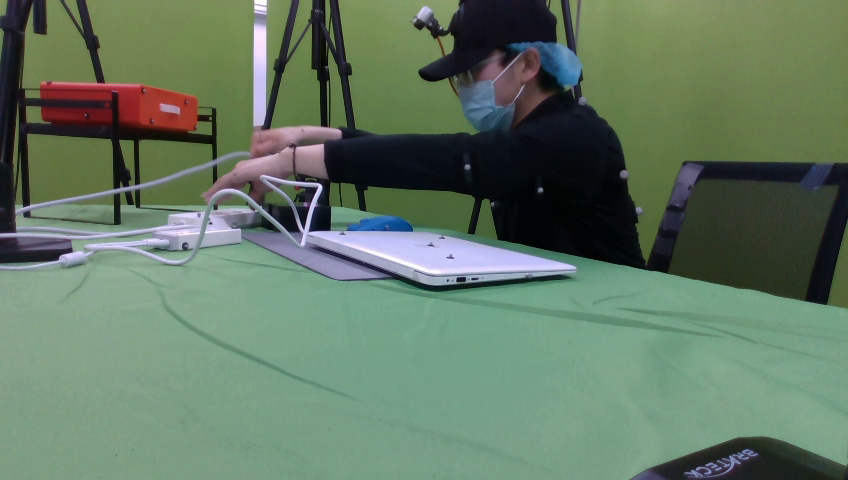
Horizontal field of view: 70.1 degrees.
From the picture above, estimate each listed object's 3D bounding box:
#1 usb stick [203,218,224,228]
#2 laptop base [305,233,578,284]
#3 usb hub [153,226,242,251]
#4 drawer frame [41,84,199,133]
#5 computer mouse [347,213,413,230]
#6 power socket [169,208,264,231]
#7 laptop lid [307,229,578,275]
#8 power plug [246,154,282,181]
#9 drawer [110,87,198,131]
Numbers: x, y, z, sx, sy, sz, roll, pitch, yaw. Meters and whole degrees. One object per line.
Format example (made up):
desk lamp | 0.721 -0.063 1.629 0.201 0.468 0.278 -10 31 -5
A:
usb stick | -0.346 -0.019 1.008 0.027 0.021 0.059 43 -8 2
laptop base | 0.007 0.022 0.850 0.237 0.023 0.352 1 7 -34
usb hub | -0.337 -0.003 0.907 0.049 0.025 0.125 6 9 28
drawer frame | -0.604 -0.264 1.225 0.213 0.082 0.202 3 8 8
computer mouse | -0.079 -0.025 1.080 0.117 0.041 0.062 -5 11 -18
power socket | -0.381 -0.038 1.128 0.072 0.032 0.227 4 8 16
laptop lid | 0.009 0.010 0.849 0.243 0.013 0.355 0 8 -32
power plug | -0.326 -0.149 1.241 0.072 0.052 0.035 5 -2 12
drawer | -0.601 -0.263 1.225 0.211 0.073 0.195 3 8 10
